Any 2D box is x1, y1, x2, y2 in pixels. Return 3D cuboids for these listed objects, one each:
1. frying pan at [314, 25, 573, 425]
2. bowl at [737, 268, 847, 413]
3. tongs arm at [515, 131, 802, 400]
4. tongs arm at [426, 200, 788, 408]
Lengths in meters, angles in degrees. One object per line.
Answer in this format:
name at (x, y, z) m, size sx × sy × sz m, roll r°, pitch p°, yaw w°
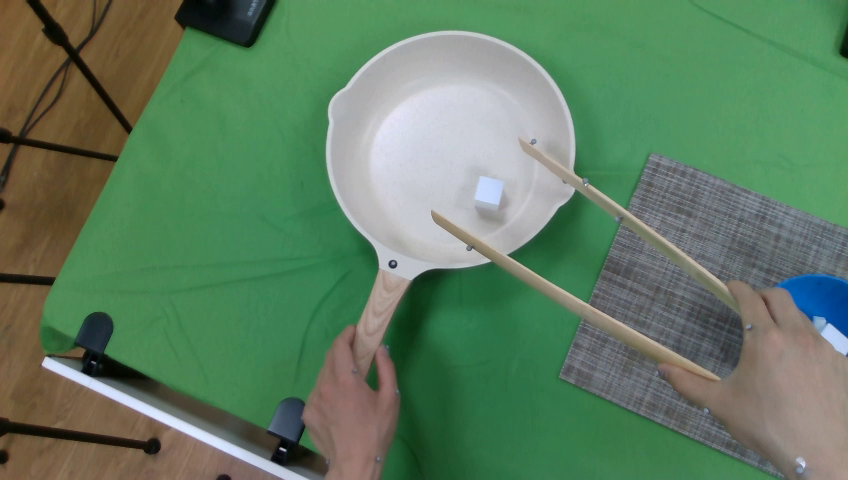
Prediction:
frying pan at (-0.013, -0.021, 0.704) m, size 0.306 × 0.103 × 0.486 m, roll 22°, pitch 73°, yaw 8°
bowl at (0.409, 0.110, 0.661) m, size 0.151 × 0.077 × 0.150 m, roll -1°, pitch 79°, yaw 4°
tongs arm at (0.189, -0.003, 0.575) m, size 0.051 × 0.027 × 0.380 m, roll -35°, pitch 48°, yaw -9°
tongs arm at (0.133, 0.042, 0.562) m, size 0.028 × 0.028 × 0.383 m, roll -41°, pitch 48°, yaw -19°
